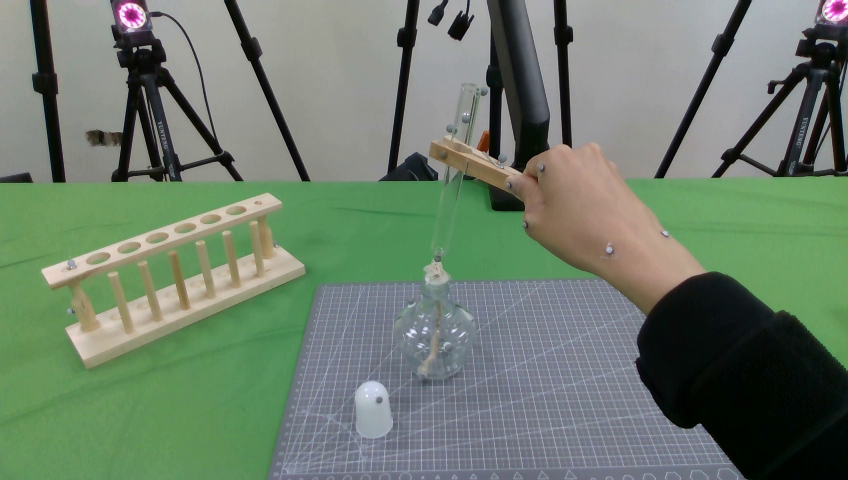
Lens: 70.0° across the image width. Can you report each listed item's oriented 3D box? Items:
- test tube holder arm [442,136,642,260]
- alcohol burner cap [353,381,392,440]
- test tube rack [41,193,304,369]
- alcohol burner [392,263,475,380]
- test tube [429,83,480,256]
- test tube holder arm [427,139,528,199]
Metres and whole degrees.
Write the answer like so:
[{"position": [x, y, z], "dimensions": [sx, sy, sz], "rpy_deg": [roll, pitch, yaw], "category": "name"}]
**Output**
[{"position": [0.076, -0.035, 0.434], "dimensions": [0.176, 0.015, 0.013], "rpy_deg": [34, 39, 32], "category": "test tube holder arm"}, {"position": [-0.044, 0.140, 0.509], "dimensions": [0.034, 0.048, 0.033], "rpy_deg": [0, 32, 0], "category": "alcohol burner cap"}, {"position": [-0.256, 0.035, 0.650], "dimensions": [0.243, 0.086, 0.066], "rpy_deg": [-25, 39, -33], "category": "test tube rack"}, {"position": [0.009, 0.069, 0.554], "dimensions": [0.078, 0.120, 0.077], "rpy_deg": [0, 33, 0], "category": "alcohol burner"}, {"position": [0.022, -0.050, 0.478], "dimensions": [0.017, 0.151, 0.017], "rpy_deg": [8, 34, -5], "category": "test tube"}, {"position": [0.040, -0.054, 0.452], "dimensions": [0.087, 0.015, 0.010], "rpy_deg": [28, 36, 25], "category": "test tube holder arm"}]
